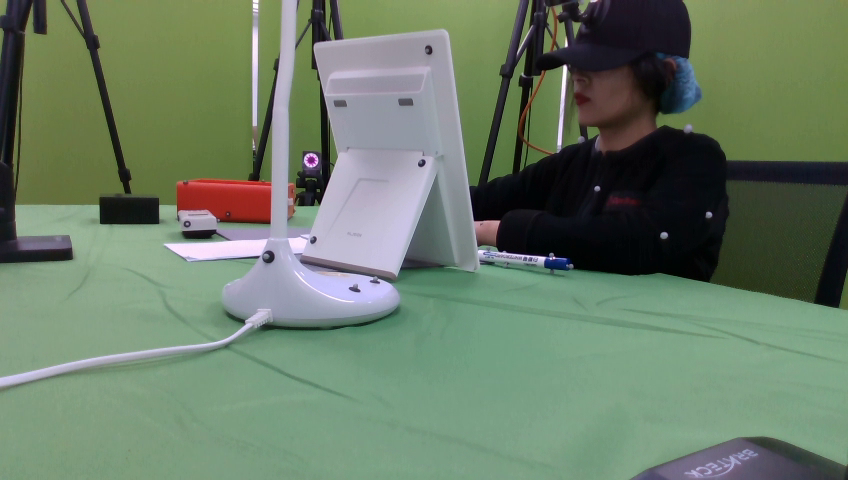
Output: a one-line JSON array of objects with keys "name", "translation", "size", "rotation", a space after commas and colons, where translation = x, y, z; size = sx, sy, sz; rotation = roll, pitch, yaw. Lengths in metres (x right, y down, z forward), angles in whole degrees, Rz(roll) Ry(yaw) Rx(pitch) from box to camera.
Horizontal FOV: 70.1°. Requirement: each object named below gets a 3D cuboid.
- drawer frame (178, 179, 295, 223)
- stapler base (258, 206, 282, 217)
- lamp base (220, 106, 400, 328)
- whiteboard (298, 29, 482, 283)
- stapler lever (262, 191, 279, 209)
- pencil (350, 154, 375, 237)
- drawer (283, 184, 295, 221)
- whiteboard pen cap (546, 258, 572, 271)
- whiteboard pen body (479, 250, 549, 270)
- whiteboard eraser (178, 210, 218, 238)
[{"name": "drawer frame", "translation": [-0.397, -0.088, 1.315], "size": [0.214, 0.082, 0.201], "rotation": [1, 8, -7]}, {"name": "stapler base", "translation": [-0.331, -0.065, 1.305], "size": [0.041, 0.024, 0.130], "rotation": [9, -2, -9]}, {"name": "lamp base", "translation": [-0.101, -0.023, 0.531], "size": [0.160, 0.180, 0.179], "rotation": [4, 10, 10]}, {"name": "whiteboard", "translation": [-0.075, -0.082, 0.742], "size": [0.216, 0.305, 0.144], "rotation": [9, 29, 37]}, {"name": "stapler lever", "translation": [-0.329, -0.086, 1.306], "size": [0.027, 0.040, 0.118], "rotation": [9, 3, -9]}, {"name": "pencil", "translation": [-0.114, -0.085, 1.112], "size": [0.012, 0.194, 0.012], "rotation": [8, -33, 5]}, {"name": "drawer", "translation": [-0.394, -0.087, 1.317], "size": [0.212, 0.073, 0.194], "rotation": [1, 8, -7]}, {"name": "whiteboard pen cap", "translation": [0.175, 0.032, 0.790], "size": [0.033, 0.018, 0.018], "rotation": [3, 7, 37]}, {"name": "whiteboard pen body", "translation": [0.130, 0.028, 0.827], "size": [0.140, 0.017, 0.017], "rotation": [7, 9, 38]}, {"name": "whiteboard eraser", "translation": [-0.380, -0.027, 1.014], "size": [0.056, 0.042, 0.112], "rotation": [0, 8, -25]}]
